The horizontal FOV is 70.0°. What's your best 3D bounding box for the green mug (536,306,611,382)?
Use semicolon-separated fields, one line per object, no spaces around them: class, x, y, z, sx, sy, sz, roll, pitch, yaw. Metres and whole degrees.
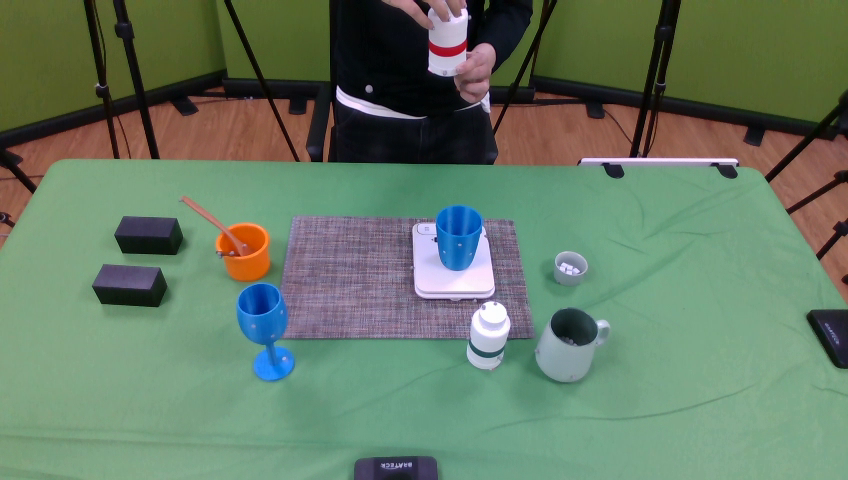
green mug;0.250;0.167;0.996;0.125;0.105;0.092;-15;49;-19

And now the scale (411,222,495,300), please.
scale;0.052;0.031;1.158;0.149;0.032;0.199;1;46;-4

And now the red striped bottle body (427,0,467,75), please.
red striped bottle body;0.037;-0.330;0.969;0.063;0.120;0.062;-1;51;1

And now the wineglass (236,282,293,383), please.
wineglass;-0.243;0.143;0.934;0.074;0.173;0.073;2;46;-2

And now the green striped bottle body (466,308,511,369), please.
green striped bottle body;0.106;0.154;0.988;0.063;0.120;0.063;2;46;-2

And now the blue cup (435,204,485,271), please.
blue cup;0.061;0.001;1.097;0.092;0.101;0.092;1;44;0

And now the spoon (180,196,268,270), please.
spoon;-0.360;-0.014;1.094;0.021;0.194;0.041;-27;26;31

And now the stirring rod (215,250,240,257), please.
stirring rod;-0.339;0.024;1.059;0.014;0.176;0.006;16;86;-6

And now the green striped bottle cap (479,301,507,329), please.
green striped bottle cap;0.109;0.117;0.950;0.044;0.020;0.044;2;48;-2

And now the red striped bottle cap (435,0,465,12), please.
red striped bottle cap;0.039;-0.364;0.921;0.044;0.018;0.044;-9;42;9

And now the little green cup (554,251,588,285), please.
little green cup;0.277;0.055;1.151;0.061;0.039;0.061;1;46;-1
